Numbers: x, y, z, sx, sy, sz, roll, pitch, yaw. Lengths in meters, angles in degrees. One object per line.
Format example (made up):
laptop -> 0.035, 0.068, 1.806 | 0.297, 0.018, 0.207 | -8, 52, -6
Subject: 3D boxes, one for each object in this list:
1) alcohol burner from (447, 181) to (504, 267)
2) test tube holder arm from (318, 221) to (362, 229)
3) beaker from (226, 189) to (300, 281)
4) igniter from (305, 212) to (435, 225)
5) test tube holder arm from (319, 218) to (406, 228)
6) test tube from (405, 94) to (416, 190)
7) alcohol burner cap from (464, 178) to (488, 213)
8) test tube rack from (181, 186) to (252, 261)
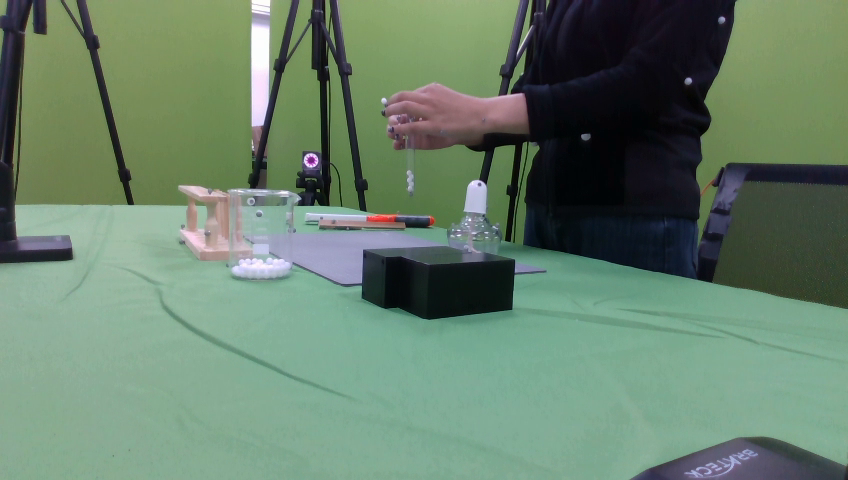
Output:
alcohol burner -> 0.070, -0.024, 0.828 | 0.078, 0.119, 0.078 | 1, 7, 0
test tube holder arm -> -0.166, -0.031, 1.203 | 0.088, 0.015, 0.010 | 0, -23, -20
beaker -> -0.184, -0.007, 0.694 | 0.084, 0.100, 0.073 | -1, 8, -29
igniter -> -0.113, -0.046, 1.299 | 0.277, 0.025, 0.057 | 1, -3, -12
test tube holder arm -> -0.122, -0.033, 1.214 | 0.179, 0.015, 0.013 | 1, -23, -20
test tube -> -0.021, -0.154, 0.954 | 0.017, 0.150, 0.017 | -1, 3, 0
alcohol burner cap -> 0.073, -0.060, 0.824 | 0.034, 0.048, 0.034 | 6, 4, 0
test tube rack -> -0.312, -0.031, 0.893 | 0.067, 0.085, 0.241 | -1, 8, -27
